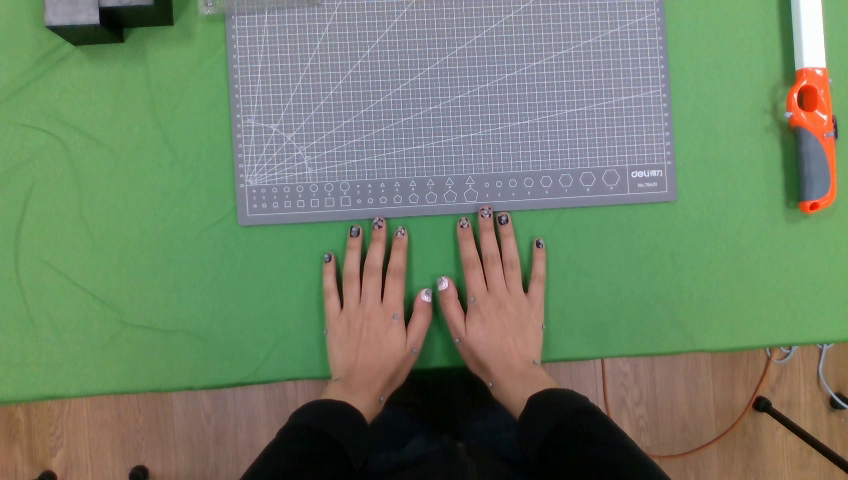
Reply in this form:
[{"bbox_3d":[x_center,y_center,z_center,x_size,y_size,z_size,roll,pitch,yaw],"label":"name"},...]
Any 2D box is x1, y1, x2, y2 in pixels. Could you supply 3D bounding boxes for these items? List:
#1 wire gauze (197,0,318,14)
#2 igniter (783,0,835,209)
[{"bbox_3d":[-0.177,-0.292,0.609,0.125,0.011,0.121,-9,89,-2],"label":"wire gauze"},{"bbox_3d":[0.398,-0.170,0.630,0.057,0.025,0.276,-3,89,-14],"label":"igniter"}]
